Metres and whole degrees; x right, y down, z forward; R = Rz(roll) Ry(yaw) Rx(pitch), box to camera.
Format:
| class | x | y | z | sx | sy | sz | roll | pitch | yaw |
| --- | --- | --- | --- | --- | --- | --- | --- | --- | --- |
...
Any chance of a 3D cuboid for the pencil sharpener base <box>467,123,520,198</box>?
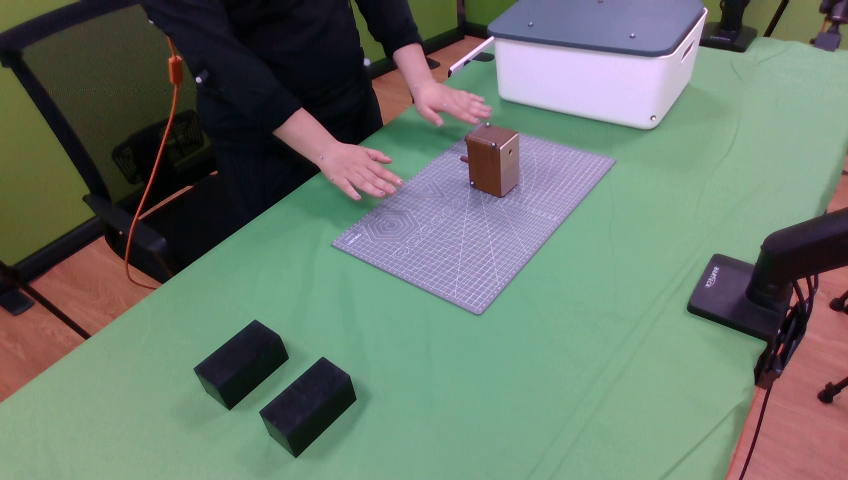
| class | x | y | z | sx | sy | sz | roll | pitch | yaw |
| --- | --- | --- | --- | --- | --- | --- | --- | --- | --- |
| pencil sharpener base | 0.119 | -0.138 | 1.044 | 0.076 | 0.107 | 0.061 | 23 | 50 | 32 |

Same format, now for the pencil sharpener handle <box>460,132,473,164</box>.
| class | x | y | z | sx | sy | sz | roll | pitch | yaw |
| --- | --- | --- | --- | --- | --- | --- | --- | --- | --- |
| pencil sharpener handle | 0.077 | -0.163 | 1.062 | 0.030 | 0.068 | 0.036 | 23 | 43 | 32 |

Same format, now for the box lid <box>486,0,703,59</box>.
| class | x | y | z | sx | sy | sz | roll | pitch | yaw |
| --- | --- | --- | --- | --- | --- | --- | --- | --- | --- |
| box lid | 0.338 | -0.437 | 1.204 | 0.369 | 0.015 | 0.264 | 18 | 47 | 29 |

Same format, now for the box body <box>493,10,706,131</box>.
| class | x | y | z | sx | sy | sz | roll | pitch | yaw |
| --- | --- | --- | --- | --- | --- | --- | --- | --- | --- |
| box body | 0.354 | -0.377 | 1.254 | 0.361 | 0.161 | 0.254 | 20 | 48 | 28 |
